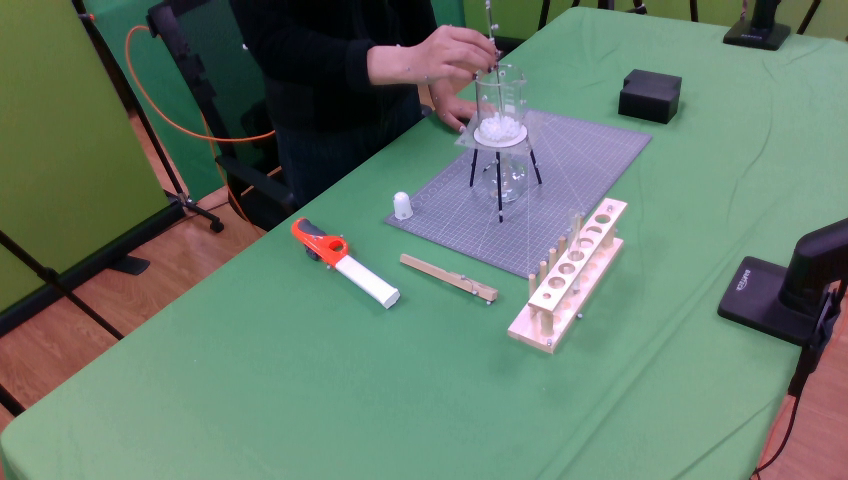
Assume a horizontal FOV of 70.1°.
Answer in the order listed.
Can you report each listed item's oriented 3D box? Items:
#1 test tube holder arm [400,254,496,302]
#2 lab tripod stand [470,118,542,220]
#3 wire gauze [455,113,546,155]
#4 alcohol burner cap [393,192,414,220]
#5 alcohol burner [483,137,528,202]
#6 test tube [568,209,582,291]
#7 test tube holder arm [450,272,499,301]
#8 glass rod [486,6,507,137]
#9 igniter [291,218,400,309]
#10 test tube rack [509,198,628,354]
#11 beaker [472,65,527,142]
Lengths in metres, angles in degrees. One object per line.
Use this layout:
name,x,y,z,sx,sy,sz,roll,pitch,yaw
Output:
test tube holder arm,0.032,0.055,0.914,0.177,0.015,0.013,21,16,32
lab tripod stand,0.135,-0.128,1.019,0.148,0.132,0.147,-5,38,5
wire gauze,0.124,-0.175,0.973,0.124,0.011,0.121,8,39,21
alcohol burner cap,-0.038,-0.061,1.043,0.034,0.048,0.033,-5,40,5
alcohol burner,0.138,-0.125,1.030,0.078,0.119,0.077,-4,41,4
test tube,0.200,0.018,0.799,0.017,0.151,0.017,-8,45,8
test tube holder arm,0.071,0.068,0.895,0.087,0.015,0.010,21,16,33
glass rod,0.109,-0.243,0.894,0.008,0.200,0.008,-9,34,7
igniter,-0.136,0.031,0.970,0.057,0.025,0.274,-41,49,-19
test tube rack,0.206,0.039,0.850,0.066,0.085,0.243,20,48,31
beaker,0.120,-0.211,0.942,0.083,0.101,0.074,10,42,21
